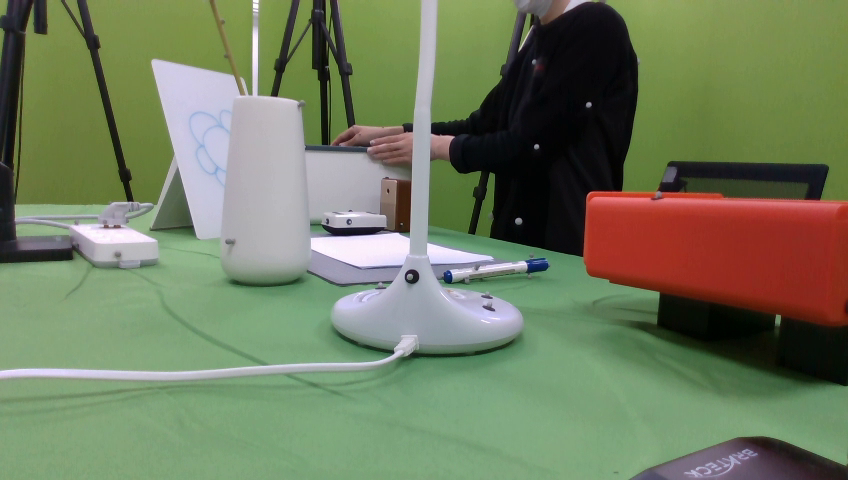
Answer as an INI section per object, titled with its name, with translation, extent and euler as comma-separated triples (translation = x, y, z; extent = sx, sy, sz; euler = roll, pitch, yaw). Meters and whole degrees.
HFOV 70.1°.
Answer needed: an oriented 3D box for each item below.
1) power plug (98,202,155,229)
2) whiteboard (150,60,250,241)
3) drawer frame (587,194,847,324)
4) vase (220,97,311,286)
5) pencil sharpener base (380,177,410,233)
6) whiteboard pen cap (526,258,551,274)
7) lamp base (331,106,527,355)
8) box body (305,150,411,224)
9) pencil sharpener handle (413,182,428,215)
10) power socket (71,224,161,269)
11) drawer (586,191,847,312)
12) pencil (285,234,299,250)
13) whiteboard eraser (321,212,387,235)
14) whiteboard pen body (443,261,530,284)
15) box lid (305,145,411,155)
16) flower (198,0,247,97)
[power plug]
translation = -0.416, -0.027, 0.848
extent = 0.073, 0.052, 0.035
euler = 0, 8, -28
[whiteboard]
translation = -0.408, -0.139, 1.093
extent = 0.143, 0.305, 0.218
euler = -15, -1, 26
[drawer frame]
translation = 0.285, 0.004, 0.509
extent = 0.203, 0.082, 0.212
euler = -1, 6, -29
[vase]
translation = -0.172, -0.052, 0.662
extent = 0.098, 0.200, 0.098
euler = 3, 9, 0
[pencil sharpener base]
translation = -0.042, -0.071, 1.222
extent = 0.077, 0.107, 0.061
euler = -2, 8, -37
[whiteboard pen cap]
translation = 0.141, 0.033, 0.759
extent = 0.033, 0.018, 0.018
euler = -7, 11, -26
[lamp base]
translation = 0.006, -0.012, 0.478
extent = 0.161, 0.180, 0.179
euler = 2, 10, 2
[box body]
translation = -0.230, -0.126, 1.371
extent = 0.366, 0.160, 0.253
euler = -2, 8, -33
[pencil sharpener handle]
translation = -0.002, -0.086, 1.254
extent = 0.031, 0.067, 0.036
euler = -3, 18, -37
[power socket]
translation = -0.408, 0.004, 0.793
extent = 0.072, 0.032, 0.225
euler = -2, 8, -38
[drawer]
translation = 0.281, 0.001, 0.512
extent = 0.195, 0.073, 0.210
euler = -1, 8, -29
[pencil]
translation = -0.209, 0.000, 0.969
extent = 0.012, 0.012, 0.193
euler = 1, 6, -8
[whiteboard eraser]
translation = -0.128, -0.031, 1.108
extent = 0.113, 0.042, 0.055
euler = -3, 7, -38
[whiteboard pen body]
translation = 0.087, 0.037, 0.734
extent = 0.141, 0.017, 0.017
euler = -6, 10, -27
[box lid]
translation = -0.231, -0.204, 1.360
extent = 0.373, 0.015, 0.262
euler = -3, 9, -33
[flower]
translation = -0.187, -0.133, 0.648
extent = 0.038, 0.362, 0.044
euler = -1, 22, 43
